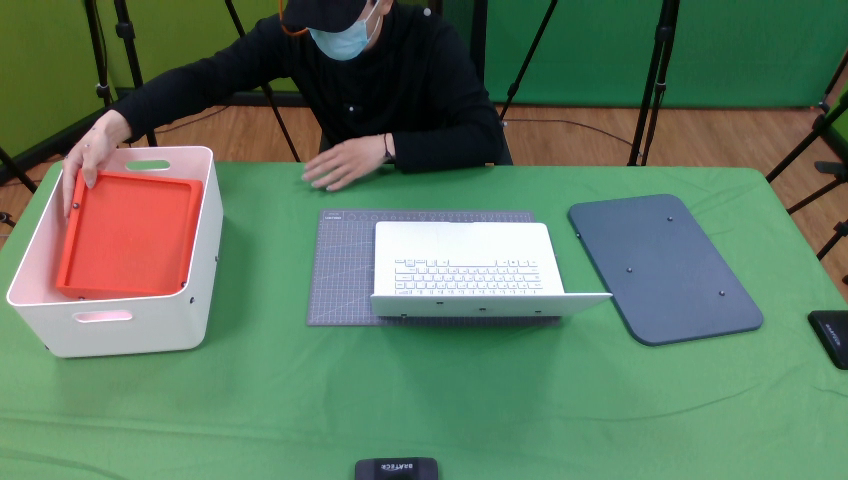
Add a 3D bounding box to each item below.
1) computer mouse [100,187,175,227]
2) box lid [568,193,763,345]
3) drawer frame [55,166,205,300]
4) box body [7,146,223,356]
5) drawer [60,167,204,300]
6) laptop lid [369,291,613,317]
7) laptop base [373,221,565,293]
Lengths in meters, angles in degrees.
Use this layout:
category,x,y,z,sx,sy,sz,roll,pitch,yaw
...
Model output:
category,x,y,z,sx,sy,sz,roll,pitch,yaw
computer mouse,-0.503,-0.060,1.067,0.117,0.041,0.062,12,42,-3
box lid,0.464,0.040,1.203,0.264,0.015,0.369,-7,47,-11
drawer frame,-0.496,-0.007,1.045,0.202,0.083,0.212,4,70,-15
box body,-0.499,0.012,1.051,0.254,0.161,0.361,-3,47,-7
drawer,-0.495,-0.009,1.046,0.195,0.073,0.211,6,69,-16
laptop lid,0.092,0.104,0.965,0.357,0.242,0.013,0,76,-5
laptop base,0.080,0.049,1.159,0.355,0.023,0.234,0,43,-4
